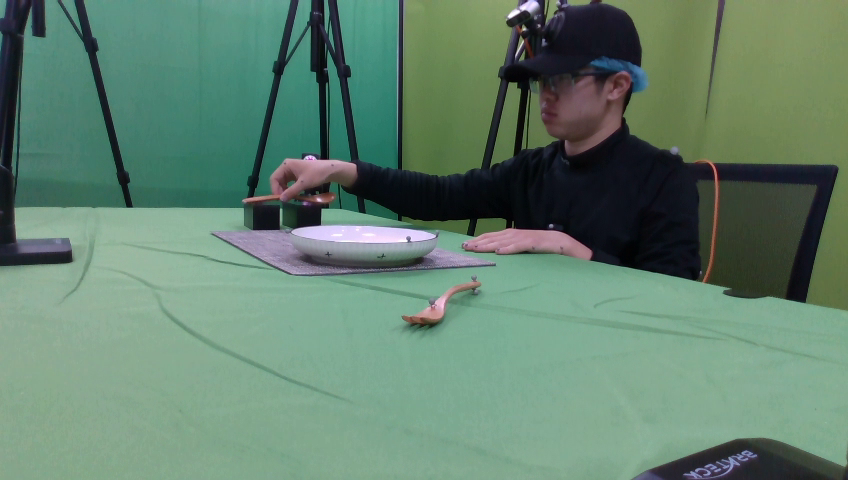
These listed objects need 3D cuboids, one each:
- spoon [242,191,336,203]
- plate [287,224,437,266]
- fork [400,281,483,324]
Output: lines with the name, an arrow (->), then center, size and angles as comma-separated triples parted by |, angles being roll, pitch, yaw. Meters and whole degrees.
spoon -> -0.271, -0.086, 1.224 | 0.195, 0.021, 0.041 | -3, 30, -32
plate -> -0.086, 0.007, 0.852 | 0.208, 0.039, 0.207 | 2, 7, 0
fork -> 0.025, 0.057, 0.590 | 0.028, 0.018, 0.208 | -2, 7, 21
